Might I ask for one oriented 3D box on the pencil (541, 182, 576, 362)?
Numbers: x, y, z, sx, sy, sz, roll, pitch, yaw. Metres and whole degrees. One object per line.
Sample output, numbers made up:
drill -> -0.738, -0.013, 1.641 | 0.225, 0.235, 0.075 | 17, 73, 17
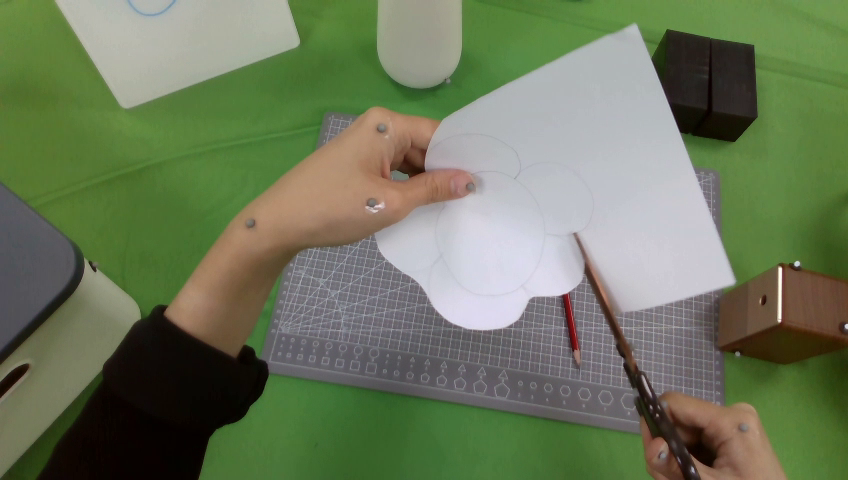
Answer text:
pencil -> 0.140, 0.030, 0.626 | 0.012, 0.012, 0.192 | -4, 71, -3

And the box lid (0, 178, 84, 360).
box lid -> -0.472, 0.006, 0.453 | 0.370, 0.015, 0.262 | 35, 71, 11

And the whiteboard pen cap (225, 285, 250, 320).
whiteboard pen cap -> -0.182, 0.061, 0.597 | 0.018, 0.018, 0.033 | 15, 65, 4

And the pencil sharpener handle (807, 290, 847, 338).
pencil sharpener handle -> 0.385, 0.073, 0.557 | 0.030, 0.068, 0.035 | 13, 63, 0

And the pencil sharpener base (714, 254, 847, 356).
pencil sharpener base -> 0.335, 0.065, 0.568 | 0.077, 0.107, 0.061 | 13, 68, 0

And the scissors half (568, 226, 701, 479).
scissors half -> 0.119, 0.071, 0.342 | 0.013, 0.040, 0.174 | -24, 85, 2

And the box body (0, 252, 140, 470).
box body -> -0.472, 0.035, 0.522 | 0.362, 0.161, 0.253 | 34, 72, 11

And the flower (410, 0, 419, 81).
flower -> -0.012, -0.301, 0.560 | 0.044, 0.365, 0.038 | 2, 51, 3

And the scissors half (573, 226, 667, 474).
scissors half -> 0.120, 0.068, 0.364 | 0.013, 0.040, 0.176 | -23, 109, 7

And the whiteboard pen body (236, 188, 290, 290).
whiteboard pen body -> -0.168, 0.008, 0.620 | 0.017, 0.017, 0.140 | 15, 67, 4

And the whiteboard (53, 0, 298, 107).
whiteboard -> -0.294, -0.335, 0.628 | 0.217, 0.308, 0.142 | -24, 52, -10

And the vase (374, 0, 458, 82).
vase -> -0.009, -0.257, 0.632 | 0.098, 0.201, 0.097 | 0, 67, 0
